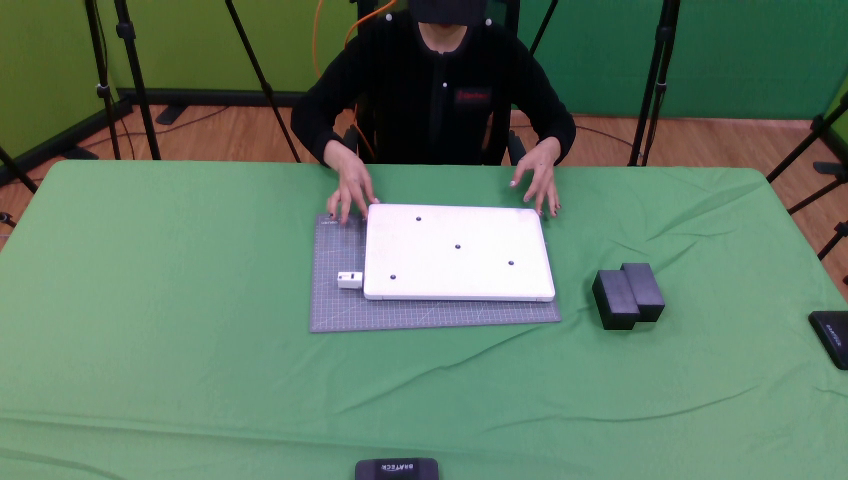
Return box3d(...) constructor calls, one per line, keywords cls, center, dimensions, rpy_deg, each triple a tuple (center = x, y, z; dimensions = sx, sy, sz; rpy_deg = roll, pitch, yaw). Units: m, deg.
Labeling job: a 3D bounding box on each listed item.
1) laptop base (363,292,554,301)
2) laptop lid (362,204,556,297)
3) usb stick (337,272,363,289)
box3d(cls="laptop base", center=(0.062, 0.025, 1.175), dimensions=(0.355, 0.023, 0.234), rpy_deg=(1, 46, -4))
box3d(cls="laptop lid", center=(0.063, 0.015, 1.167), dimensions=(0.357, 0.013, 0.240), rpy_deg=(2, 47, -3))
box3d(cls="usb stick", center=(-0.128, 0.074, 1.101), dimensions=(0.059, 0.027, 0.021), rpy_deg=(4, 48, -3))
